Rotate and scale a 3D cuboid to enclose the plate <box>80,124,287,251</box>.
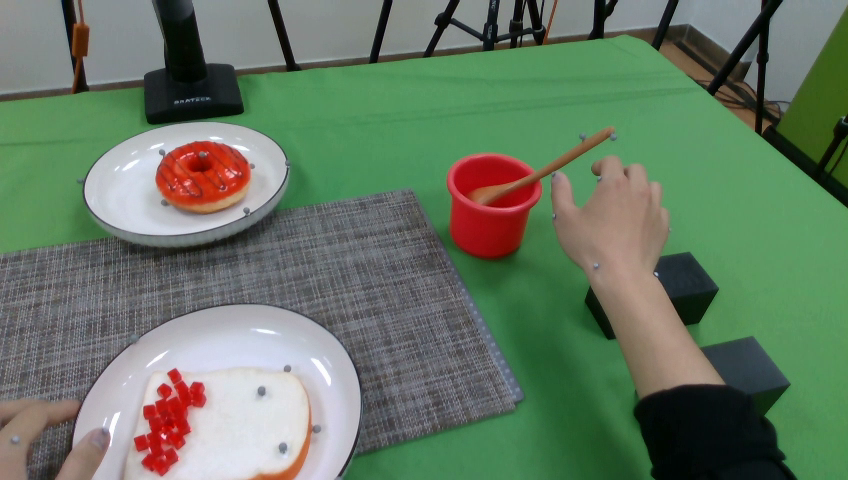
[{"bbox_3d":[-0.253,-0.056,0.658,0.208,0.039,0.205,3,42,-2],"label":"plate"}]

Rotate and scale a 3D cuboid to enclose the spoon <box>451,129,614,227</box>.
[{"bbox_3d":[0.104,-0.063,0.618,0.193,0.022,0.041,-25,32,26],"label":"spoon"}]

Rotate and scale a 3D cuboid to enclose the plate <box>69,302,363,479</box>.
[{"bbox_3d":[-0.151,0.138,0.463,0.209,0.038,0.207,3,44,-2],"label":"plate"}]

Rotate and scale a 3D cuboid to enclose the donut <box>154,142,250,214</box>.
[{"bbox_3d":[-0.238,-0.067,0.654,0.099,0.048,0.098,4,44,-3],"label":"donut"}]

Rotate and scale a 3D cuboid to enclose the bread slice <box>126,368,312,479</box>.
[{"bbox_3d":[-0.152,0.142,0.462,0.132,0.019,0.104,-3,44,-6],"label":"bread slice"}]
